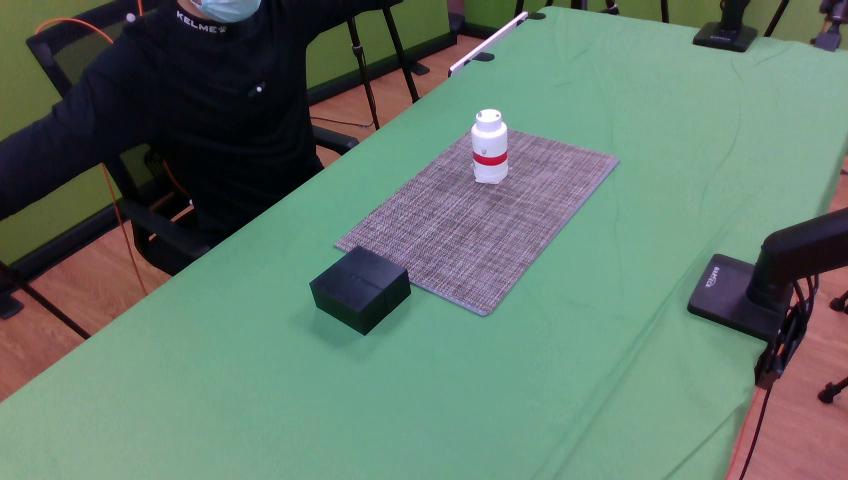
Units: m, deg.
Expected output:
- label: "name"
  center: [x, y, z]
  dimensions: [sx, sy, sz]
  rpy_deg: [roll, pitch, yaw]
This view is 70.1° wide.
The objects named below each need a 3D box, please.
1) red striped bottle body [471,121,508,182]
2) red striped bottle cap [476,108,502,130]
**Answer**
- label: "red striped bottle body"
  center: [0.116, -0.167, 1.064]
  dimensions: [0.063, 0.120, 0.062]
  rpy_deg: [-4, 41, 4]
- label: "red striped bottle cap"
  center: [0.110, -0.206, 1.030]
  dimensions: [0.044, 0.018, 0.044]
  rpy_deg: [-5, 44, 5]
